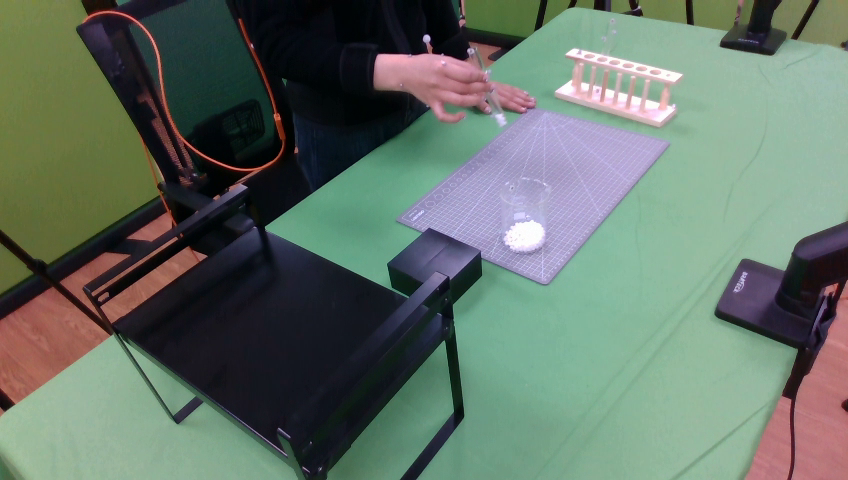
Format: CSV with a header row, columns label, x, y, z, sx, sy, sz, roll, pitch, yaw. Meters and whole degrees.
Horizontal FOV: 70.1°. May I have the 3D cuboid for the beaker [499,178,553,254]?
label,x,y,z,sx,sy,sz,roll,pitch,yaw
beaker,0.157,-0.036,0.929,0.084,0.100,0.073,-16,41,-12

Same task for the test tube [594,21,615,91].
label,x,y,z,sx,sy,sz,roll,pitch,yaw
test tube,0.366,-0.372,1.232,0.017,0.151,0.017,0,43,0

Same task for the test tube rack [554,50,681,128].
label,x,y,z,sx,sy,sz,roll,pitch,yaw
test tube rack,0.387,-0.311,1.234,0.240,0.085,0.067,28,52,35

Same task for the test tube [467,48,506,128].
label,x,y,z,sx,sy,sz,roll,pitch,yaw
test tube,0.102,-0.239,0.962,0.017,0.151,0.017,-17,42,16
